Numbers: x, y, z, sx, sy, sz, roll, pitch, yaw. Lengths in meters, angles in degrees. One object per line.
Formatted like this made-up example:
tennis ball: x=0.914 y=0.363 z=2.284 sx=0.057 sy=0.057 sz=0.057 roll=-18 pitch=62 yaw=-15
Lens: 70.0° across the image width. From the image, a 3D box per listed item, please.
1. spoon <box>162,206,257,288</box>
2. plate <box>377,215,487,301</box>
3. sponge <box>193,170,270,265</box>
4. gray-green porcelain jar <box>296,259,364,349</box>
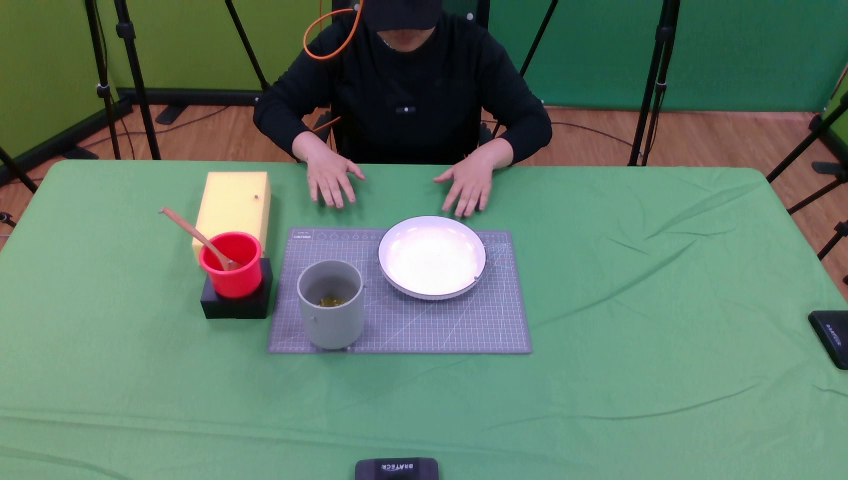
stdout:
spoon: x=-0.355 y=0.011 z=1.006 sx=0.194 sy=0.021 sz=0.041 roll=48 pitch=45 yaw=-19
plate: x=0.014 y=0.037 z=1.147 sx=0.208 sy=0.039 sz=0.206 roll=2 pitch=46 yaw=-2
sponge: x=-0.372 y=-0.047 z=1.189 sx=0.118 sy=0.061 sz=0.205 roll=-2 pitch=47 yaw=-6
gray-green porcelain jar: x=-0.152 y=0.111 z=1.003 sx=0.106 sy=0.127 sz=0.105 roll=2 pitch=46 yaw=-2
